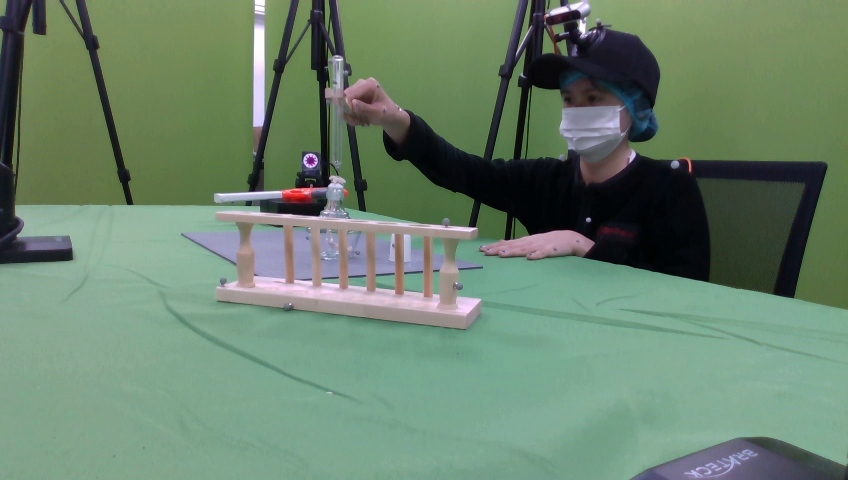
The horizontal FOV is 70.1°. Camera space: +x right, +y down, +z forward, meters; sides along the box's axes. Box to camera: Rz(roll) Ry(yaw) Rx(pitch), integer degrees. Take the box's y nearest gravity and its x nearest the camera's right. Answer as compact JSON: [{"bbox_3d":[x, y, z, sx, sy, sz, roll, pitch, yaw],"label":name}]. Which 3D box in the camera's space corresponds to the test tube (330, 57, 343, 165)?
[{"bbox_3d":[-0.121,-0.178,0.835,0.017,0.150,0.017,0,-2,0],"label":"test tube"}]

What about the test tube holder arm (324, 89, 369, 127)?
[{"bbox_3d":[-0.112,-0.195,0.904,0.013,0.015,0.179,1,-1,11],"label":"test tube holder arm"}]

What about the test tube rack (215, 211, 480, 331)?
[{"bbox_3d":[-0.071,0.023,0.565,0.242,0.085,0.067,5,7,16],"label":"test tube rack"}]

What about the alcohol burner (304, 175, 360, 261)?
[{"bbox_3d":[-0.126,-0.031,0.838,0.078,0.119,0.078,3,5,0],"label":"alcohol burner"}]

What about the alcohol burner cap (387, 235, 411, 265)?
[{"bbox_3d":[-0.035,0.009,0.839,0.034,0.048,0.034,2,6,0],"label":"alcohol burner cap"}]

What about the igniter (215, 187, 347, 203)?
[{"bbox_3d":[-0.293,-0.095,1.267,0.278,0.025,0.057,-6,12,-34],"label":"igniter"}]

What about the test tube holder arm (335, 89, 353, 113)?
[{"bbox_3d":[-0.113,-0.197,0.859,0.010,0.015,0.088,1,-2,3],"label":"test tube holder arm"}]
